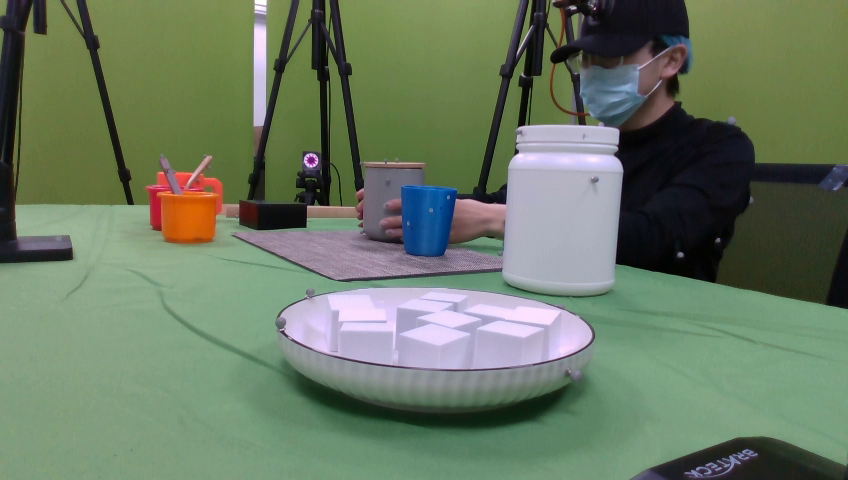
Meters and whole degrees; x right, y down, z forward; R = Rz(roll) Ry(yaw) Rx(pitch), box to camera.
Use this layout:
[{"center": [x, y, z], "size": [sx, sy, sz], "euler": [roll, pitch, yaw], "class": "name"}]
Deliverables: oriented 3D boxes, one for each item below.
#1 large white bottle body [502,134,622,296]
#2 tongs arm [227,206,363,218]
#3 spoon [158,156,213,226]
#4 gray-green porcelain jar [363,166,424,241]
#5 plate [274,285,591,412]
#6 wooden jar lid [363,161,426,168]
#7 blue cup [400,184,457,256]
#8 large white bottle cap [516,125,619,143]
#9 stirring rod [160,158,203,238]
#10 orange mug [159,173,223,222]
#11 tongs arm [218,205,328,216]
[{"center": [0.161, -0.037, 0.706], "size": [0.131, 0.184, 0.130], "euler": [2, 7, 0], "class": "large white bottle body"}, {"center": [-0.251, -0.063, 1.360], "size": [0.387, 0.026, 0.050], "euler": [-1, 2, -31], "class": "tongs arm"}, {"center": [-0.434, -0.094, 1.121], "size": [0.041, 0.022, 0.193], "euler": [5, 51, 14], "class": "spoon"}, {"center": [-0.054, -0.064, 1.053], "size": [0.106, 0.126, 0.106], "euler": [2, 8, 0], "class": "gray-green porcelain jar"}, {"center": [0.005, 0.069, 0.408], "size": [0.208, 0.039, 0.207], "euler": [2, 7, 0], "class": "plate"}, {"center": [-0.051, -0.125, 1.046], "size": [0.108, 0.020, 0.108], "euler": [0, 10, 0], "class": "wooden jar lid"}, {"center": [0.003, -0.030, 0.901], "size": [0.093, 0.100, 0.092], "euler": [4, 8, 0], "class": "blue cup"}, {"center": [0.164, -0.120, 0.695], "size": [0.115, 0.018, 0.115], "euler": [2, 7, 0], "class": "large white bottle cap"}, {"center": [-0.391, -0.070, 0.972], "size": [0.014, 0.006, 0.175], "euler": [-2, 50, -48], "class": "stirring rod"}, {"center": [-0.477, -0.089, 1.241], "size": [0.127, 0.101, 0.083], "euler": [-7, 11, -33], "class": "orange mug"}, {"center": [-0.288, -0.068, 1.435], "size": [0.389, 0.027, 0.028], "euler": [0, -2, -17], "class": "tongs arm"}]
